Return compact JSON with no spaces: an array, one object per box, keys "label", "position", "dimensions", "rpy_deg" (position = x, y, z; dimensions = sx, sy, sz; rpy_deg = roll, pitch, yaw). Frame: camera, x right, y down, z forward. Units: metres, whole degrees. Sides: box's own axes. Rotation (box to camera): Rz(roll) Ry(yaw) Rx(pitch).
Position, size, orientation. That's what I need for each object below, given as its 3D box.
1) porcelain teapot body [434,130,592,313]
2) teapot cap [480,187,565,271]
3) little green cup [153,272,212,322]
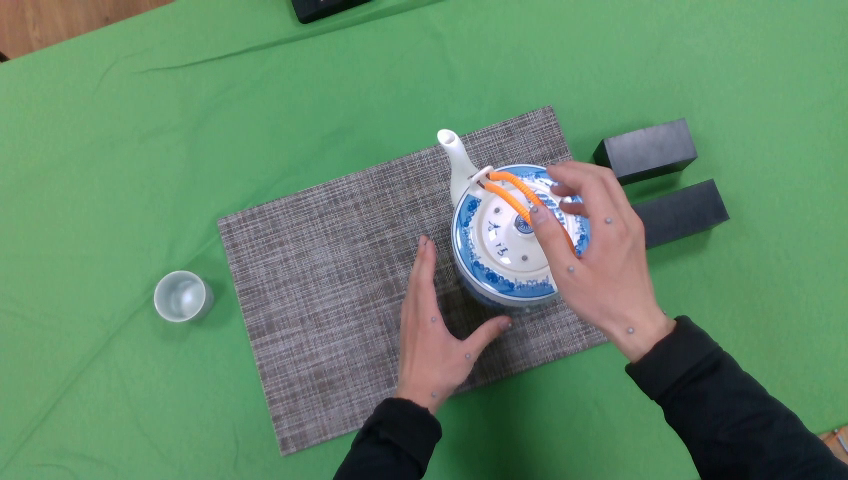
[{"label":"porcelain teapot body","position":[0.079,-0.025,0.636],"dimensions":[0.145,0.226,0.204],"rpy_deg":[-42,79,-5]},{"label":"teapot cap","position":[0.096,-0.013,0.593],"dimensions":[0.085,0.044,0.084],"rpy_deg":[-1,76,2]},{"label":"little green cup","position":[-0.290,0.071,0.734],"dimensions":[0.061,0.039,0.061],"rpy_deg":[-1,78,3]}]
